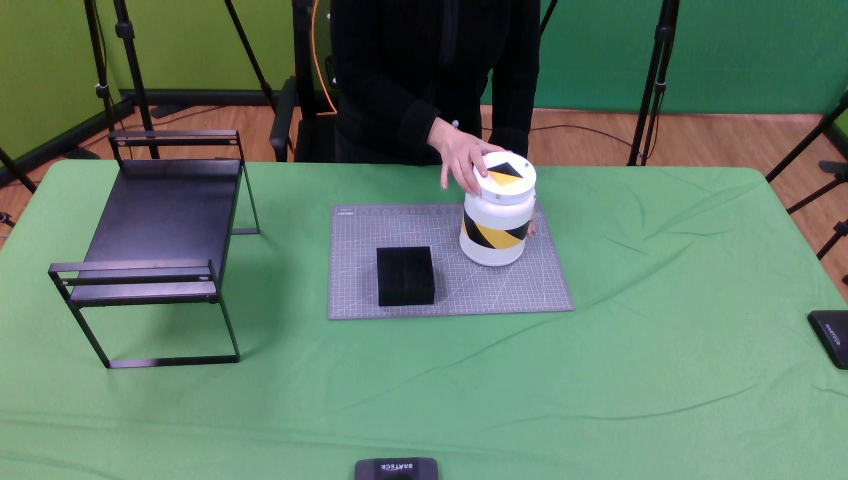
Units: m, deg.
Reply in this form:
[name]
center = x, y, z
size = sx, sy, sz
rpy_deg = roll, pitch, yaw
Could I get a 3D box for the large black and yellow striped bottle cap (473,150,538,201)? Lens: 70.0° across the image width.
[large black and yellow striped bottle cap]
center = 0.145, -0.116, 1.079
size = 0.115, 0.019, 0.114
rpy_deg = 1, 50, -1

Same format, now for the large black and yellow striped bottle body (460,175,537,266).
[large black and yellow striped bottle body]
center = 0.140, -0.055, 1.143
size = 0.131, 0.185, 0.130
rpy_deg = 2, 46, -2
